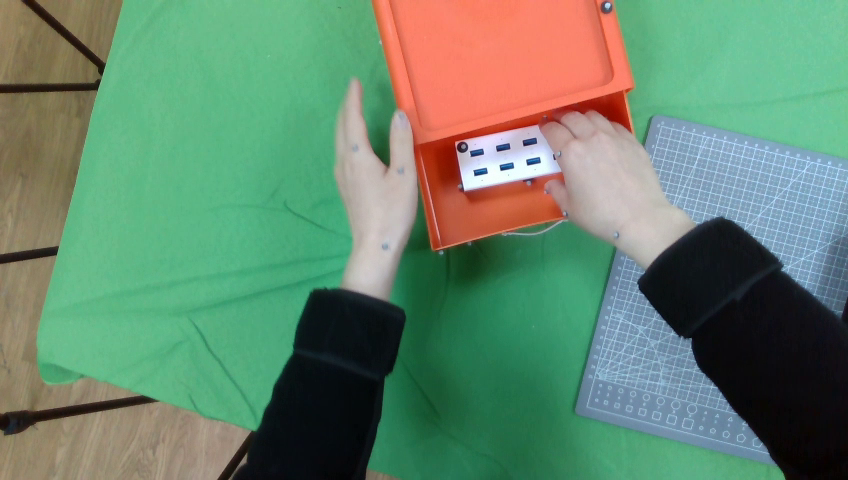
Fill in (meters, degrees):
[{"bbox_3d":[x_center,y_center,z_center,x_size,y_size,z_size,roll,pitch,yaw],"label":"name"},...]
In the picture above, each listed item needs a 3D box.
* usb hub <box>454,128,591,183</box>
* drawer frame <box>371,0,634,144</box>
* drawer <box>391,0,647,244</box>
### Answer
[{"bbox_3d":[0.090,-0.078,0.563,0.125,0.025,0.049,0,94,9],"label":"usb hub"},{"bbox_3d":[0.056,-0.210,0.541,0.201,0.083,0.213,-15,92,4],"label":"drawer frame"},{"bbox_3d":[0.078,-0.116,0.547,0.194,0.073,0.212,-12,93,4],"label":"drawer"}]
